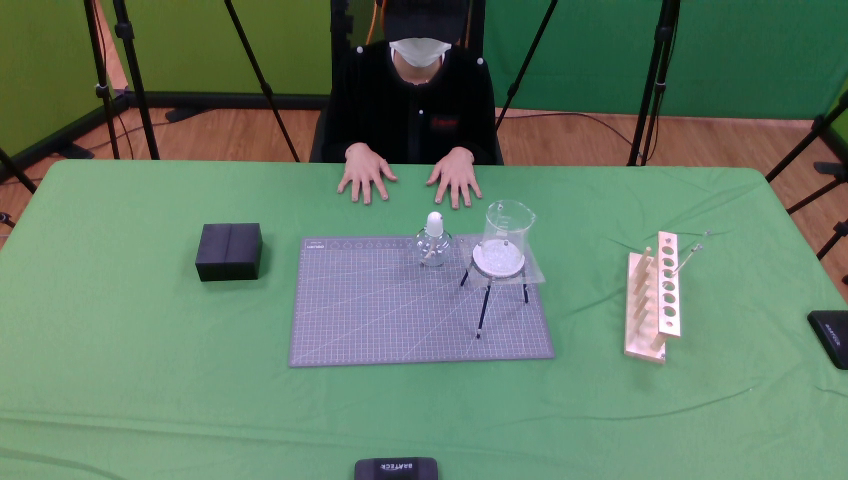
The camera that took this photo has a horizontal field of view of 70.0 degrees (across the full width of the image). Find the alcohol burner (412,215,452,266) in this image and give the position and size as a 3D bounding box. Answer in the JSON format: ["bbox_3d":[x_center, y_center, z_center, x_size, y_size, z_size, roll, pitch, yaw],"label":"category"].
[{"bbox_3d":[0.017,-0.006,1.139,0.078,0.119,0.077,2,48,-2],"label":"alcohol burner"}]

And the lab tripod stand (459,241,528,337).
[{"bbox_3d":[0.122,0.075,1.054,0.148,0.132,0.147,3,44,-3],"label":"lab tripod stand"}]

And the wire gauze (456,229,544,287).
[{"bbox_3d":[0.125,0.030,1.008,0.125,0.011,0.120,-3,48,-11],"label":"wire gauze"}]

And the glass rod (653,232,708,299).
[{"bbox_3d":[0.441,0.049,1.050,0.008,0.200,0.008,4,52,-5],"label":"glass rod"}]

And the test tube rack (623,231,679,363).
[{"bbox_3d":[0.410,0.094,1.096,0.066,0.085,0.241,13,46,9],"label":"test tube rack"}]

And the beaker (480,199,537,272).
[{"bbox_3d":[0.132,-0.004,0.973,0.084,0.101,0.073,-4,47,-9],"label":"beaker"}]

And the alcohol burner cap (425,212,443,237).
[{"bbox_3d":[0.019,-0.032,1.114,0.034,0.048,0.033,0,48,0],"label":"alcohol burner cap"}]
